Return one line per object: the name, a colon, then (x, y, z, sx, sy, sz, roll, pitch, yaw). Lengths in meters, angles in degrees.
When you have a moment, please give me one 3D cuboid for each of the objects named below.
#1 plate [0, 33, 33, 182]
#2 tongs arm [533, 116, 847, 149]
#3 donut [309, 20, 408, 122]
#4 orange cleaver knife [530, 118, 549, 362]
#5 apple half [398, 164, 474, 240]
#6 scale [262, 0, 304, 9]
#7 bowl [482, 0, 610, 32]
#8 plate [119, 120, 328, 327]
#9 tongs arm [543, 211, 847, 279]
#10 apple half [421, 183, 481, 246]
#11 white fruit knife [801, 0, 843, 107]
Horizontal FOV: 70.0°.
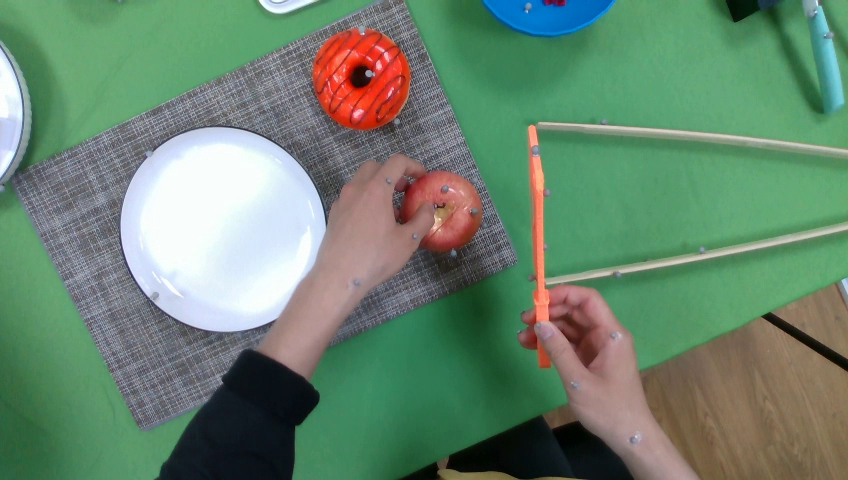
plate: (-0.494, -0.138, 0.611, 0.208, 0.039, 0.208, 0, 96, 0)
tongs arm: (0.303, -0.102, 0.619, 0.388, 0.028, 0.028, 6, 88, -1)
donut: (-0.065, -0.166, 0.600, 0.099, 0.048, 0.099, 0, 98, 2)
orange cleaver knife: (0.094, 0.007, 0.500, 0.012, 0.076, 0.213, -3, 123, 9)
apple half: (0.005, -0.045, 0.599, 0.053, 0.074, 0.081, 44, 99, 1)
scale: (-0.126, -0.346, 0.590, 0.148, 0.031, 0.201, -20, 96, 3)
bowl: (0.111, -0.267, 0.576, 0.151, 0.076, 0.151, 0, 97, 0)
plate: (-0.200, -0.017, 0.620, 0.209, 0.038, 0.209, 0, 96, 0)
tongs arm: (0.309, -0.016, 0.625, 0.385, 0.026, 0.051, -9, 92, 0)
apple half: (0.034, -0.018, 0.600, 0.033, 0.081, 0.081, 44, 94, 1)
white fruit knife: (0.372, -0.222, 0.580, 0.016, 0.027, 0.209, -26, 110, 3)
